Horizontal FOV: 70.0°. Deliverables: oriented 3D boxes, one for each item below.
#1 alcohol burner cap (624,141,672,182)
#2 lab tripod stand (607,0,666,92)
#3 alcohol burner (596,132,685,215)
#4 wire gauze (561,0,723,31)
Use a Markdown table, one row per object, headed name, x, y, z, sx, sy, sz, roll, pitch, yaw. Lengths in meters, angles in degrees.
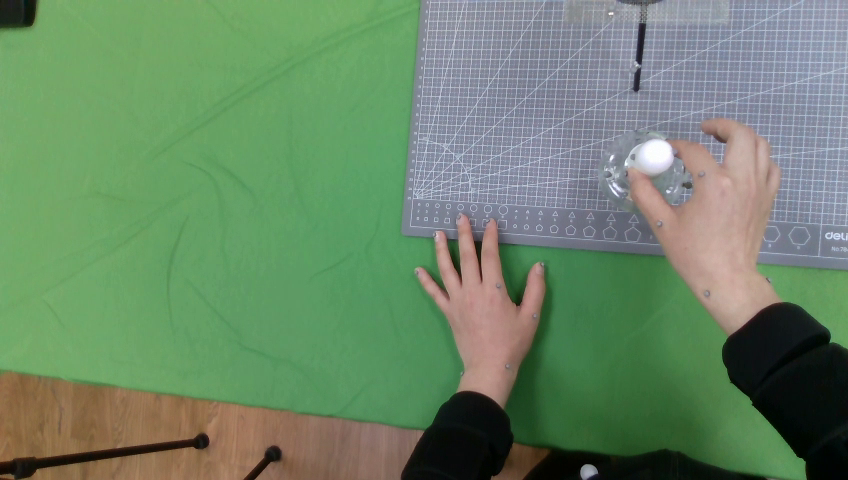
| name | x | y | z | sx | sy | sz | roll | pitch | yaw |
| --- | --- | --- | --- | --- | --- | --- | --- | --- | --- |
| alcohol burner cap | 0.185 | -0.066 | 0.495 | 0.034 | 0.048 | 0.034 | 0 | 89 | 8 |
| lab tripod stand | 0.188 | -0.222 | 0.540 | 0.148 | 0.132 | 0.148 | 0 | 88 | 12 |
| alcohol burner | 0.195 | -0.062 | 0.541 | 0.078 | 0.119 | 0.078 | -1 | 87 | 12 |
| wire gauze | 0.173 | -0.226 | 0.476 | 0.125 | 0.011 | 0.121 | 4 | 92 | 11 |
